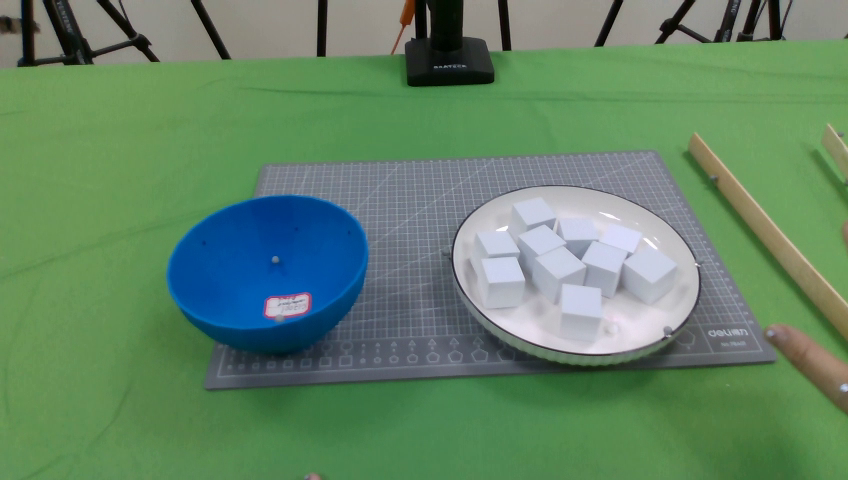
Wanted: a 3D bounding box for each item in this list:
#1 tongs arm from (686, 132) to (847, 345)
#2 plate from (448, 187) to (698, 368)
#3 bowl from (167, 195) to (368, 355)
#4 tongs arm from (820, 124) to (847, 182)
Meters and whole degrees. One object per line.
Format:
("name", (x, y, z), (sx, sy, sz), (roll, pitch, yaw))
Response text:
("tongs arm", (0.338, 0.012, 0.554), (0.028, 0.028, 0.383), (-5, 42, -8))
("plate", (0.124, 0.030, 0.525), (0.208, 0.039, 0.205), (0, 42, 0))
("bowl", (-0.117, 0.039, 0.487), (0.151, 0.077, 0.150), (0, 42, 1))
("tongs arm", (0.421, 0.007, 0.552), (0.051, 0.027, 0.381), (1, 43, 4))
